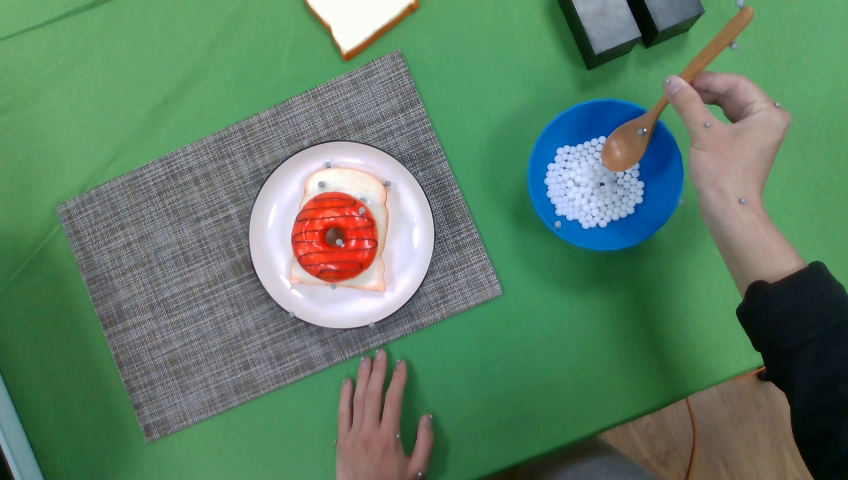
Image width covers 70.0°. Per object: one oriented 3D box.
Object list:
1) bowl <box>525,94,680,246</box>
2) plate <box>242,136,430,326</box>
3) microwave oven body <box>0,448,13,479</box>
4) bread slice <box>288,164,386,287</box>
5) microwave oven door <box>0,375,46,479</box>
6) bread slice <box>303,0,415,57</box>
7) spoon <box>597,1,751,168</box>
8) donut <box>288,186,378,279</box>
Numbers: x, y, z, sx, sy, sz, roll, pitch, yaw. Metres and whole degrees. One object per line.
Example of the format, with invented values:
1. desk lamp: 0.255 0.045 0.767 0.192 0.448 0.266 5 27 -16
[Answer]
1. bowl: 0.178 -0.067 0.631 0.151 0.077 0.151 0 89 5
2. plate: -0.095 -0.009 0.671 0.207 0.039 0.207 0 89 5
3. microwave oven body: -0.650 0.230 0.609 0.326 0.260 0.441 -25 88 4
4. bread slice: -0.095 -0.017 0.672 0.107 0.018 0.134 2 90 5
5. microwave oven door: -0.500 0.207 0.590 0.039 0.244 0.355 -25 87 5
6. bread slice: -0.090 -0.290 0.688 0.105 0.019 0.131 -37 87 3
7. spoon: 0.210 -0.127 0.527 0.022 0.194 0.041 -18 69 -25
8. donut: -0.097 -0.008 0.644 0.099 0.048 0.099 0 90 6
